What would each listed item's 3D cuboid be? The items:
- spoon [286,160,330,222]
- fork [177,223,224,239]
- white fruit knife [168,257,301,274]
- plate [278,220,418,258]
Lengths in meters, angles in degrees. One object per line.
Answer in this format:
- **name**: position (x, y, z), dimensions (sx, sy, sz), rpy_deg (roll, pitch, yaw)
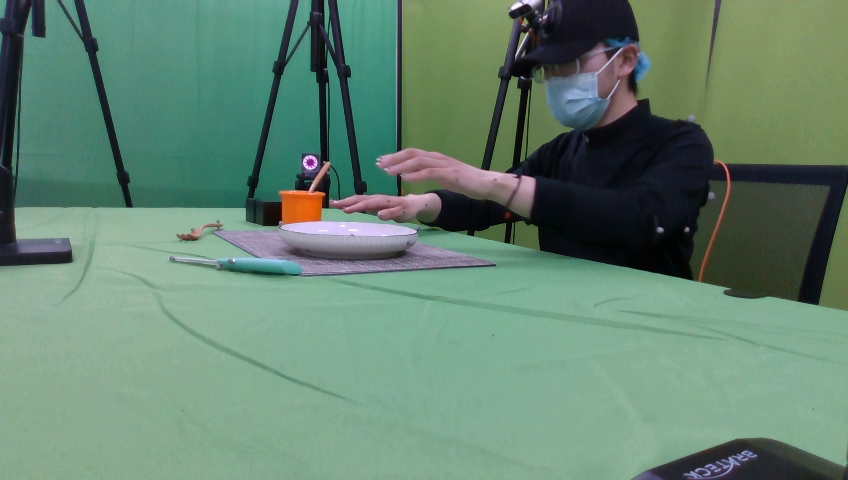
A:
- **spoon**: position (-0.233, -0.101, 1.252), dimensions (0.041, 0.193, 0.022), rpy_deg (3, -38, 23)
- **fork**: position (-0.386, -0.019, 1.062), dimensions (0.028, 0.018, 0.207), rpy_deg (-4, 9, -1)
- **white fruit knife**: position (-0.243, 0.029, 0.749), dimensions (0.206, 0.016, 0.027), rpy_deg (2, -17, 26)
- **plate**: position (-0.114, -0.002, 0.914), dimensions (0.209, 0.038, 0.209), rpy_deg (2, 7, 0)
